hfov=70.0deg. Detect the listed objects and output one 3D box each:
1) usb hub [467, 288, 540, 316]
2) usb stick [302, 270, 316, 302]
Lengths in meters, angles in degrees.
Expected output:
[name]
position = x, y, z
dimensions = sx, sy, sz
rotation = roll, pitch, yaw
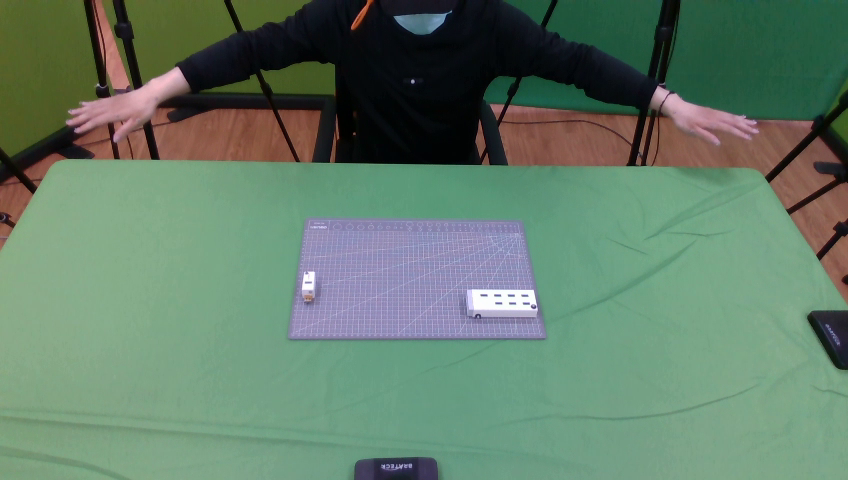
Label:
[usb hub]
position = 0.142, 0.112, 1.089
dimensions = 0.125, 0.025, 0.049
rotation = 0, 46, -2
[usb stick]
position = -0.207, 0.085, 1.092
dimensions = 0.021, 0.027, 0.059
rotation = 1, 49, -5
